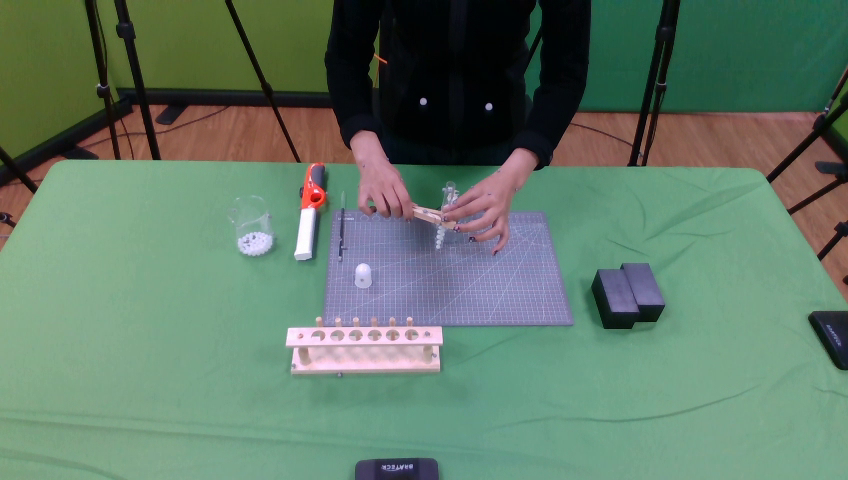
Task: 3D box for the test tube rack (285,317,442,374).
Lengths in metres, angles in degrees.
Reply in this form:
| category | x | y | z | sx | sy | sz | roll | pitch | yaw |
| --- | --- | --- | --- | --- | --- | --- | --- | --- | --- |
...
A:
| category | x | y | z | sx | sy | sz | roll | pitch | yaw |
| --- | --- | --- | --- | --- | --- | --- | --- | --- | --- |
| test tube rack | -0.095 | 0.166 | 0.988 | 0.242 | 0.085 | 0.066 | 0 | 46 | -4 |

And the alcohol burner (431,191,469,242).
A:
| category | x | y | z | sx | sy | sz | roll | pitch | yaw |
| --- | --- | --- | --- | --- | --- | --- | --- | --- | --- |
| alcohol burner | 0.052 | -0.053 | 1.185 | 0.078 | 0.119 | 0.077 | 2 | 48 | -2 |

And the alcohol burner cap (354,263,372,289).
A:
| category | x | y | z | sx | sy | sz | roll | pitch | yaw |
| --- | --- | --- | --- | --- | --- | --- | --- | --- | --- |
| alcohol burner cap | -0.113 | 0.063 | 1.111 | 0.034 | 0.048 | 0.033 | 2 | 46 | -2 |

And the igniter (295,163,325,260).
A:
| category | x | y | z | sx | sy | sz | roll | pitch | yaw |
| --- | --- | --- | --- | --- | --- | --- | --- | --- | --- |
| igniter | -0.234 | -0.067 | 1.243 | 0.057 | 0.025 | 0.274 | -6 | 46 | 4 |

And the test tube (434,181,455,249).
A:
| category | x | y | z | sx | sy | sz | roll | pitch | yaw |
| --- | --- | --- | --- | --- | --- | --- | --- | --- | --- |
| test tube | 0.034 | -0.039 | 1.024 | 0.017 | 0.151 | 0.017 | 5 | 45 | -5 |

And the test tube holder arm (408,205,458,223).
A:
| category | x | y | z | sx | sy | sz | roll | pitch | yaw |
| --- | --- | --- | --- | --- | --- | --- | --- | --- | --- |
| test tube holder arm | 0.015 | -0.045 | 1.035 | 0.088 | 0.015 | 0.010 | 10 | 41 | 5 |

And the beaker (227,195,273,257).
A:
| category | x | y | z | sx | sy | sz | roll | pitch | yaw |
| --- | --- | --- | --- | --- | --- | --- | --- | --- | --- |
| beaker | -0.326 | -0.022 | 1.142 | 0.074 | 0.101 | 0.083 | 10 | 47 | 6 |

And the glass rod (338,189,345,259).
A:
| category | x | y | z | sx | sy | sz | roll | pitch | yaw |
| --- | --- | --- | --- | --- | --- | --- | --- | --- | --- |
| glass rod | -0.166 | -0.036 | 1.227 | 0.008 | 0.008 | 0.198 | -1 | 46 | -4 |

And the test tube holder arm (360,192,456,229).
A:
| category | x | y | z | sx | sy | sz | roll | pitch | yaw |
| --- | --- | --- | --- | --- | --- | --- | --- | --- | --- |
| test tube holder arm | -0.030 | -0.052 | 1.039 | 0.178 | 0.015 | 0.013 | 17 | 41 | 14 |
